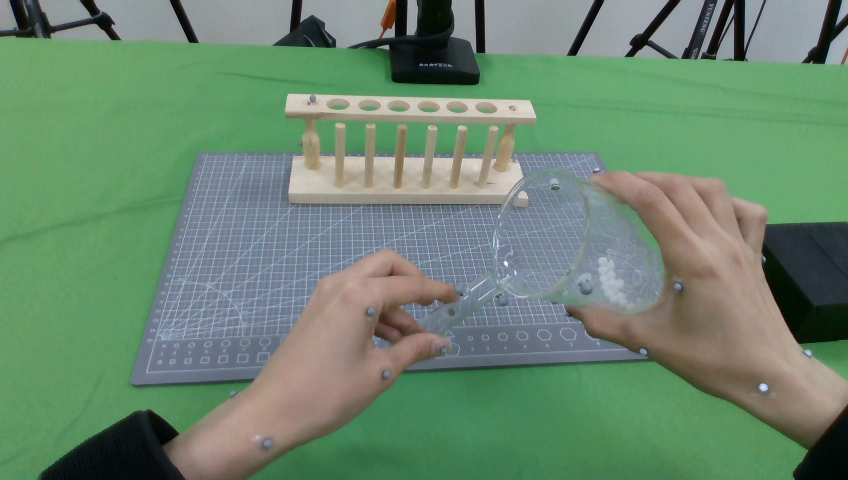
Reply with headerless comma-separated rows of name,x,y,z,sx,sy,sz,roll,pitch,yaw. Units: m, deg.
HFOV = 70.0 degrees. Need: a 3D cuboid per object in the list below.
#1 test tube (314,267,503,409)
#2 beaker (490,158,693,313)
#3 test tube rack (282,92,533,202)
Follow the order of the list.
test tube,-0.014,0.064,0.377,0.150,0.017,0.017,-38,41,19
beaker,0.099,0.005,0.355,0.101,0.084,0.073,13,42,-32
test tube rack,-0.015,-0.092,0.608,0.243,0.086,0.066,0,43,-7
